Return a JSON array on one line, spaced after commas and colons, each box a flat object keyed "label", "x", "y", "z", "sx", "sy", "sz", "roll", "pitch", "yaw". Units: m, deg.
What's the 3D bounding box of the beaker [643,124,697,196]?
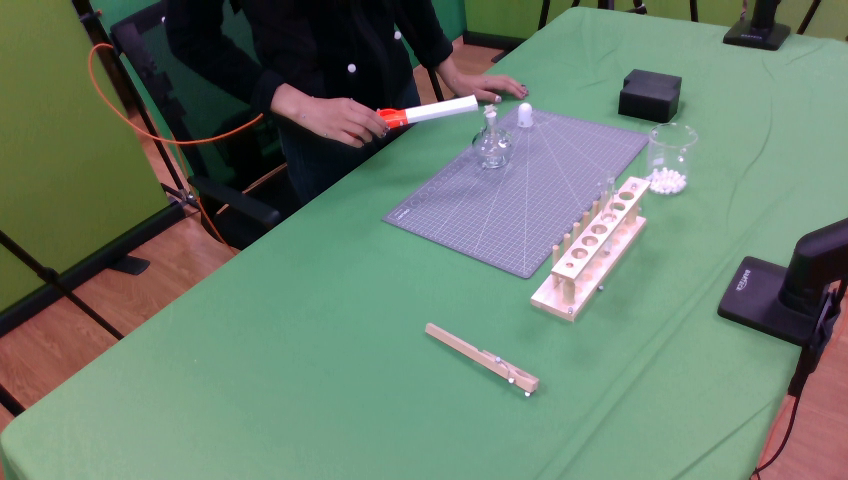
[{"label": "beaker", "x": 0.407, "y": -0.132, "z": 1.001, "sx": 0.084, "sy": 0.101, "sz": 0.073, "roll": -20, "pitch": 42, "yaw": -13}]

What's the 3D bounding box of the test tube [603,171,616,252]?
[{"label": "test tube", "x": 0.259, "y": -0.036, "z": 0.848, "sx": 0.017, "sy": 0.151, "sz": 0.017, "roll": -8, "pitch": 46, "yaw": 9}]

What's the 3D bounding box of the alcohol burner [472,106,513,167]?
[{"label": "alcohol burner", "x": 0.125, "y": -0.195, "z": 1.111, "sx": 0.078, "sy": 0.119, "sz": 0.077, "roll": -5, "pitch": 42, "yaw": 5}]

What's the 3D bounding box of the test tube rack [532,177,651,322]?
[{"label": "test tube rack", "x": 0.247, "y": 0.002, "z": 0.883, "sx": 0.066, "sy": 0.085, "sz": 0.243, "roll": 22, "pitch": 49, "yaw": 32}]

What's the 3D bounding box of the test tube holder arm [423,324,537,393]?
[{"label": "test tube holder arm", "x": 0.069, "y": 0.152, "z": 0.789, "sx": 0.177, "sy": 0.015, "sz": 0.013, "roll": 23, "pitch": 15, "yaw": 32}]

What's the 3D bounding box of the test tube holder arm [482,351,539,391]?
[{"label": "test tube holder arm", "x": 0.106, "y": 0.166, "z": 0.769, "sx": 0.087, "sy": 0.015, "sz": 0.010, "roll": 24, "pitch": 15, "yaw": 34}]

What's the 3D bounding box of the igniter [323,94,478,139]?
[{"label": "igniter", "x": -0.043, "y": -0.220, "z": 1.075, "sx": 0.277, "sy": 0.025, "sz": 0.057, "roll": -11, "pitch": 46, "yaw": 0}]

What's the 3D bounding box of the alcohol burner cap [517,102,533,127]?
[{"label": "alcohol burner cap", "x": 0.205, "y": -0.255, "z": 1.223, "sx": 0.034, "sy": 0.048, "sz": 0.033, "roll": -6, "pitch": 40, "yaw": 5}]
